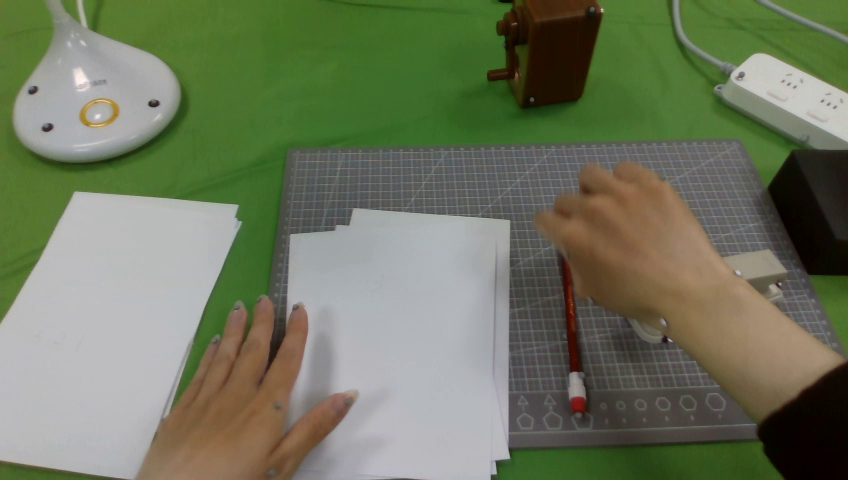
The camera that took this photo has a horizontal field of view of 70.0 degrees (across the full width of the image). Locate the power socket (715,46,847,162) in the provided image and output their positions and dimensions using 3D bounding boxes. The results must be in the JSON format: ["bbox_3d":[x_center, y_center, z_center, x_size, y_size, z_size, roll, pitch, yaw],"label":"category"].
[{"bbox_3d":[0.406,-0.124,0.601,0.072,0.033,0.225,-37,62,-25],"label":"power socket"}]

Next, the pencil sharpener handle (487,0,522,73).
[{"bbox_3d":[0.076,-0.196,0.587,0.031,0.068,0.035,-11,33,-8],"label":"pencil sharpener handle"}]

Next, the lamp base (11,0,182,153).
[{"bbox_3d":[-0.335,-0.200,0.555,0.161,0.182,0.177,-28,56,-19],"label":"lamp base"}]

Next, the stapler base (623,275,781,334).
[{"bbox_3d":[0.225,0.038,0.484,0.131,0.024,0.041,-15,56,-13],"label":"stapler base"}]

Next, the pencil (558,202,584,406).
[{"bbox_3d":[0.116,0.041,0.490,0.012,0.012,0.192,4,52,3],"label":"pencil"}]

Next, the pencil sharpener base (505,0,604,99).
[{"bbox_3d":[0.124,-0.202,0.608,0.077,0.108,0.060,-11,55,-8],"label":"pencil sharpener base"}]

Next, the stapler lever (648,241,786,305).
[{"bbox_3d":[0.226,0.022,0.464,0.118,0.040,0.026,-15,56,-13],"label":"stapler lever"}]
